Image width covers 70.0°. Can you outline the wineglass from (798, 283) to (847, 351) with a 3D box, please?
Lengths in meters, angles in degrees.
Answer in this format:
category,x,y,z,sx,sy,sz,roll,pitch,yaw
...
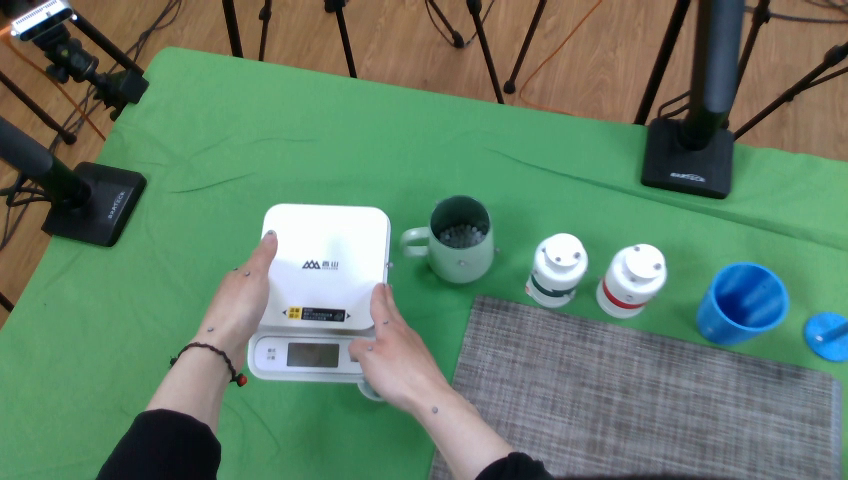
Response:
category,x,y,z,sx,sy,sz,roll,pitch,yaw
wineglass,0.502,0.073,0.690,0.074,0.173,0.073,-1,65,4

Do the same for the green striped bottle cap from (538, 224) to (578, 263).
category,x,y,z,sx,sy,sz,roll,pitch,yaw
green striped bottle cap,0.158,0.004,0.714,0.044,0.020,0.044,-1,66,3

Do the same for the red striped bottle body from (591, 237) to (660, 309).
category,x,y,z,sx,sy,sz,roll,pitch,yaw
red striped bottle body,0.250,0.039,0.750,0.063,0.120,0.062,-1,65,2

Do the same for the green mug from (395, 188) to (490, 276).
category,x,y,z,sx,sy,sz,roll,pitch,yaw
green mug,0.025,-0.007,0.793,0.125,0.106,0.092,-8,66,0

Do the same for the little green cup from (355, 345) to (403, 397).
category,x,y,z,sx,sy,sz,roll,pitch,yaw
little green cup,-0.054,0.166,0.755,0.061,0.039,0.061,-1,65,2

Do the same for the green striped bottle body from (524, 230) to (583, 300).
category,x,y,z,sx,sy,sz,roll,pitch,yaw
green striped bottle body,0.162,0.027,0.761,0.063,0.120,0.062,-1,65,3

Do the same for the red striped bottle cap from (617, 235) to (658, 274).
category,x,y,z,sx,sy,sz,roll,pitch,yaw
red striped bottle cap,0.248,0.017,0.703,0.044,0.018,0.044,-2,67,4

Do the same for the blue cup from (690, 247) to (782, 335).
category,x,y,z,sx,sy,sz,roll,pitch,yaw
blue cup,0.370,0.073,0.738,0.092,0.101,0.092,-2,65,5

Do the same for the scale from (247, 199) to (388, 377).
category,x,y,z,sx,sy,sz,roll,pitch,yaw
scale,-0.120,0.051,0.686,0.148,0.032,0.199,2,72,4
